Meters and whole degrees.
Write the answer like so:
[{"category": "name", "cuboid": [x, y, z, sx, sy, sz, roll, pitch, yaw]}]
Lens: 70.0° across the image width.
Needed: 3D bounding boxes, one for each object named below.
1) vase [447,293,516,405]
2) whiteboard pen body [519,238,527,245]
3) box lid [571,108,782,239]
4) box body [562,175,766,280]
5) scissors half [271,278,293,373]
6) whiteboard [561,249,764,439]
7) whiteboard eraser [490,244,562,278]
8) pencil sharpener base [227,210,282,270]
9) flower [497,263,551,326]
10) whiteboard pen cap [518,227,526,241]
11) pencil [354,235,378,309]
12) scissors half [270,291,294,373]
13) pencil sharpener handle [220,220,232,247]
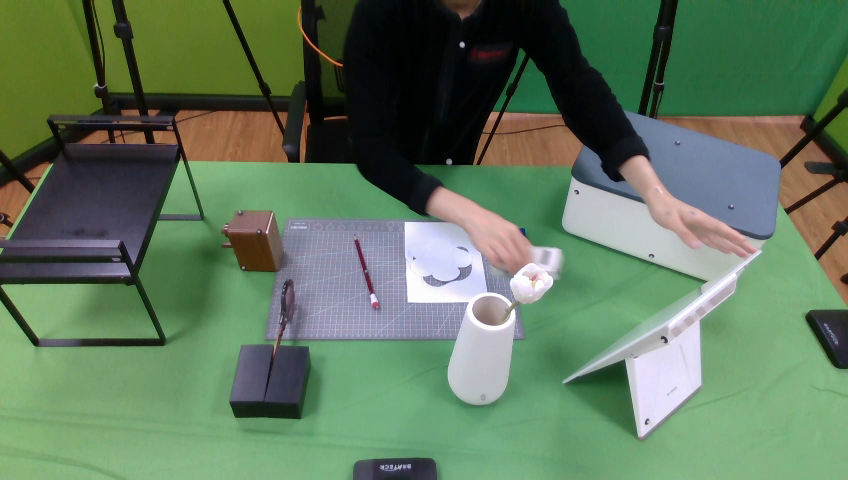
[{"category": "vase", "cuboid": [0.091, 0.169, 0.921, 0.098, 0.201, 0.097, 3, 47, -3]}, {"category": "whiteboard pen body", "cuboid": [0.193, 0.034, 1.181, 0.017, 0.017, 0.140, 6, 49, 1]}, {"category": "box lid", "cuboid": [0.491, -0.139, 1.168, 0.370, 0.015, 0.262, 21, 49, 15]}, {"category": "box body", "cuboid": [0.486, -0.088, 1.222, 0.363, 0.161, 0.253, 20, 48, 15]}, {"category": "scissors half", "cuboid": [-0.236, 0.137, 0.994, 0.013, 0.040, 0.174, 1, 55, 2]}, {"category": "whiteboard", "cuboid": [0.386, 0.176, 0.905, 0.217, 0.306, 0.143, -26, 72, -26]}, {"category": "whiteboard eraser", "cuboid": [0.171, 0.038, 1.020, 0.112, 0.042, 0.055, 2, 45, 26]}, {"category": "pencil sharpener base", "cuboid": [-0.311, 0.001, 1.112, 0.077, 0.107, 0.061, 1, 47, 1]}, {"category": "flower", "cuboid": [0.103, 0.121, 0.852, 0.044, 0.363, 0.038, -1, 64, -9]}, {"category": "whiteboard pen cap", "cuboid": [0.197, -0.009, 1.220, 0.018, 0.018, 0.033, 6, 52, 1]}, {"category": "pencil", "cuboid": [-0.113, 0.055, 1.143, 0.012, 0.012, 0.192, -10, 46, -13]}, {"category": "scissors half", "cuboid": [-0.237, 0.151, 1.009, 0.013, 0.040, 0.174, 5, 37, -1]}, {"category": "pencil sharpener handle", "cuboid": [-0.362, -0.009, 1.104, 0.030, 0.068, 0.036, 1, 52, 1]}]
